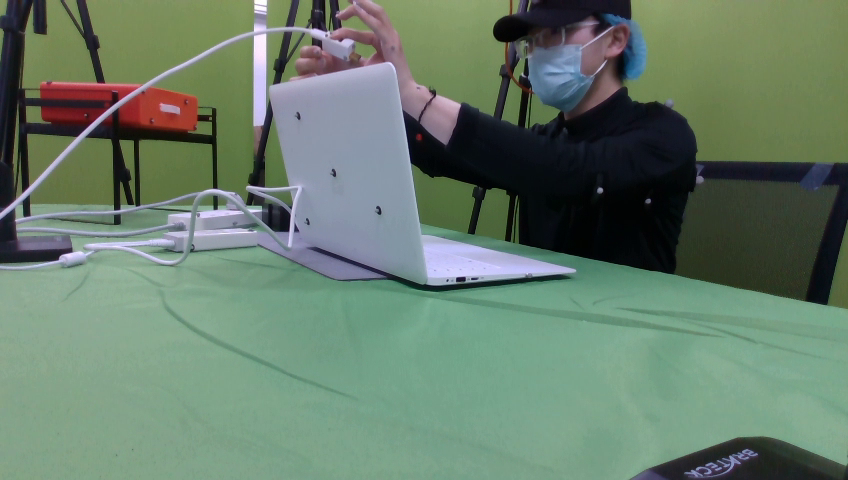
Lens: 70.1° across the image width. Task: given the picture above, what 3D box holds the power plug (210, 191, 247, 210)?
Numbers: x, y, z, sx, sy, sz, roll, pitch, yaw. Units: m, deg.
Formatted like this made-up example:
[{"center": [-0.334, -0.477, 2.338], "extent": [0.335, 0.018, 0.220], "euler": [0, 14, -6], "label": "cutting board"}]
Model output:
[{"center": [-0.386, -0.071, 1.204], "extent": [0.072, 0.052, 0.035], "euler": [8, 10, 25], "label": "power plug"}]

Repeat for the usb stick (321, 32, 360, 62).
[{"center": [-0.122, -0.283, 0.895], "extent": [0.059, 0.027, 0.021], "euler": [26, 52, 8], "label": "usb stick"}]

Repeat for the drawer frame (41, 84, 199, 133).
[{"center": [-0.604, -0.264, 1.225], "extent": [0.213, 0.082, 0.202], "euler": [3, 8, 8], "label": "drawer frame"}]

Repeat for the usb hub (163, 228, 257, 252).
[{"center": [-0.314, -0.001, 0.894], "extent": [0.049, 0.025, 0.126], "euler": [9, 11, 41], "label": "usb hub"}]

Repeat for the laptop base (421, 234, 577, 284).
[{"center": [0.007, 0.022, 0.850], "extent": [0.237, 0.023, 0.352], "euler": [1, 7, -34], "label": "laptop base"}]

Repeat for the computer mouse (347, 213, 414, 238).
[{"center": [-0.079, -0.025, 1.080], "extent": [0.117, 0.041, 0.062], "euler": [-5, 12, -18], "label": "computer mouse"}]

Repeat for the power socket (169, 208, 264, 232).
[{"center": [-0.381, -0.038, 1.128], "extent": [0.072, 0.032, 0.227], "euler": [4, 8, 17], "label": "power socket"}]

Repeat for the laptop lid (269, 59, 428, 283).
[{"center": [-0.110, -0.087, 0.752], "extent": [0.013, 0.241, 0.355], "euler": [-18, 19, -30], "label": "laptop lid"}]

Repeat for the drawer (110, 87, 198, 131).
[{"center": [-0.602, -0.263, 1.225], "extent": [0.211, 0.073, 0.195], "euler": [3, 8, 10], "label": "drawer"}]
